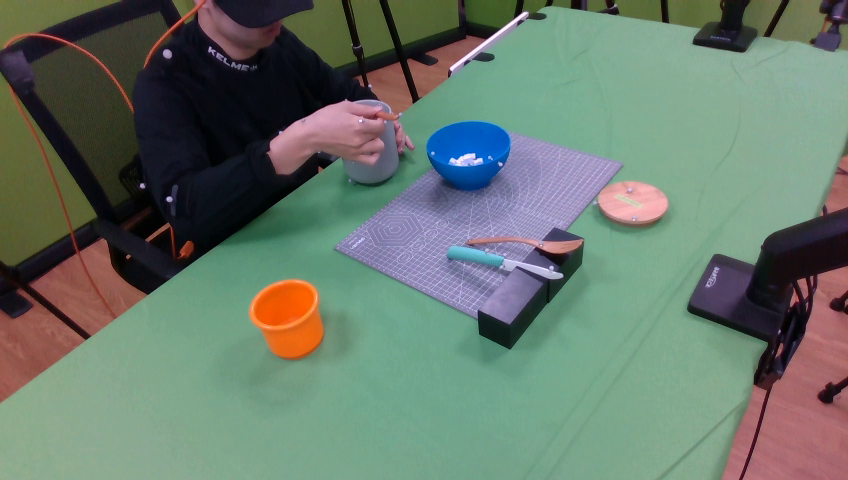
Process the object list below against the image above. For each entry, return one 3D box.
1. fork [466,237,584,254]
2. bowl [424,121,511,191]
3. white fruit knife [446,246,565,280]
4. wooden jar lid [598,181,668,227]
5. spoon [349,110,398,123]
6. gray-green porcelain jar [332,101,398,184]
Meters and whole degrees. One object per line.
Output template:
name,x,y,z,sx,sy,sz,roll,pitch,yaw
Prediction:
fork,0.142,0.005,0.894,0.205,0.019,0.028,4,43,41
bowl,0.080,-0.141,1.074,0.151,0.077,0.150,-4,40,4
white fruit knife,0.111,0.033,0.868,0.205,0.027,0.016,11,44,40
wooden jar lid,0.340,-0.057,0.989,0.108,0.021,0.108,-5,41,5
spoon,-0.084,-0.206,1.002,0.042,0.022,0.192,-23,18,-18
gray-green porcelain jar,-0.105,-0.175,1.109,0.106,0.127,0.105,-4,40,4
